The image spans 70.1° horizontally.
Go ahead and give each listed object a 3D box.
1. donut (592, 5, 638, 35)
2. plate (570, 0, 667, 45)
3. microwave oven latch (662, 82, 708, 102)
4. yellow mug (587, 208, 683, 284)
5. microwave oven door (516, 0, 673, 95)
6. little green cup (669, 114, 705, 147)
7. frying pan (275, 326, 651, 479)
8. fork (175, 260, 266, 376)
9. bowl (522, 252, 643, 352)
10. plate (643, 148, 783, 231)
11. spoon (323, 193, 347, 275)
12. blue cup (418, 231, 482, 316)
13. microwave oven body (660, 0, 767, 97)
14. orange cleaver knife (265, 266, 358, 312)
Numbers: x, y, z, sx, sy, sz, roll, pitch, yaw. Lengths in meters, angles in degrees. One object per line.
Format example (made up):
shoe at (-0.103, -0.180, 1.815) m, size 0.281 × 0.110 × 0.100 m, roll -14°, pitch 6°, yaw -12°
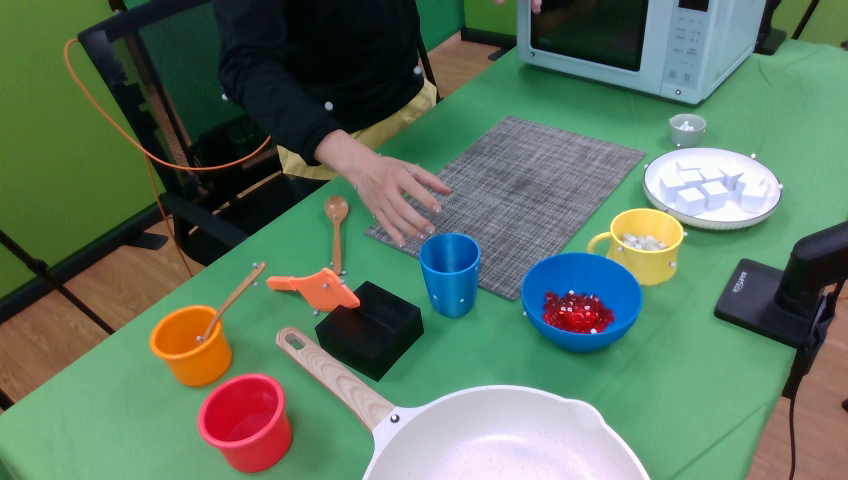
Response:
donut at (0.428, -0.492, 1.352) m, size 0.099 × 0.048 × 0.098 m, roll -6°, pitch 41°, yaw 6°
plate at (0.436, -0.489, 1.368) m, size 0.209 × 0.038 × 0.208 m, roll -5°, pitch 40°, yaw 5°
microwave oven latch at (0.518, -0.299, 1.203) m, size 0.078 × 0.029 × 0.030 m, roll 29°, pitch 53°, yaw 35°
yellow mug at (0.305, 0.009, 0.884) m, size 0.131 × 0.064 × 0.099 m, roll -4°, pitch 41°, yaw 5°
microwave oven door at (0.344, -0.458, 1.256) m, size 0.353 × 0.245 × 0.039 m, roll 26°, pitch 51°, yaw 33°
little green cup at (0.485, -0.203, 1.123) m, size 0.061 × 0.039 × 0.061 m, roll -5°, pitch 40°, yaw 5°
frying pan at (0.004, 0.229, 0.641) m, size 0.484 × 0.103 × 0.308 m, roll 34°, pitch 54°, yaw 28°
fork at (-0.268, 0.103, 0.792) m, size 0.207 × 0.019 × 0.028 m, roll -51°, pitch 41°, yaw 16°
bowl at (0.204, 0.093, 0.792) m, size 0.151 × 0.077 × 0.150 m, roll -4°, pitch 40°, yaw 4°
plate at (0.464, -0.080, 0.986) m, size 0.207 × 0.039 × 0.206 m, roll -4°, pitch 40°, yaw 4°
spoon at (-0.148, -0.014, 1.008) m, size 0.042 × 0.022 × 0.192 m, roll 1°, pitch 40°, yaw -9°
blue cup at (0.039, 0.052, 0.843) m, size 0.092 × 0.100 × 0.092 m, roll -3°, pitch 43°, yaw 4°
microwave oven body at (0.473, -0.517, 1.314) m, size 0.438 × 0.261 × 0.327 m, roll 26°, pitch 51°, yaw 34°
orange cleaver knife at (-0.164, 0.073, 0.864) m, size 0.210 × 0.077 × 0.012 m, roll -6°, pitch 30°, yaw 50°
